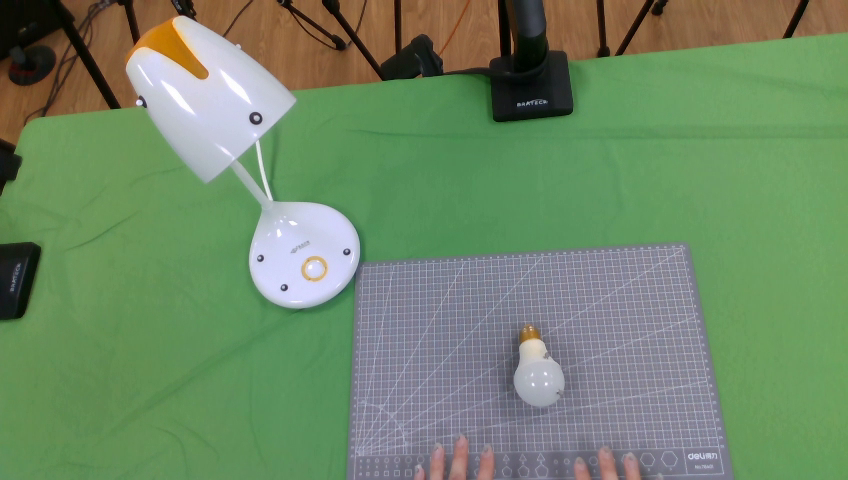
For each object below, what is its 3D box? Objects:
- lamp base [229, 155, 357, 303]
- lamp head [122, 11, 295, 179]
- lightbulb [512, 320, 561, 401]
[{"bbox_3d":[-0.193,-0.026,0.796,0.160,0.182,0.177,-42,64,-10],"label":"lamp base"},{"bbox_3d":[-0.192,-0.131,0.521,0.123,0.112,0.112,46,77,-16],"label":"lamp head"},{"bbox_3d":[0.134,0.145,0.745,0.059,0.060,0.106,-9,50,5],"label":"lightbulb"}]
